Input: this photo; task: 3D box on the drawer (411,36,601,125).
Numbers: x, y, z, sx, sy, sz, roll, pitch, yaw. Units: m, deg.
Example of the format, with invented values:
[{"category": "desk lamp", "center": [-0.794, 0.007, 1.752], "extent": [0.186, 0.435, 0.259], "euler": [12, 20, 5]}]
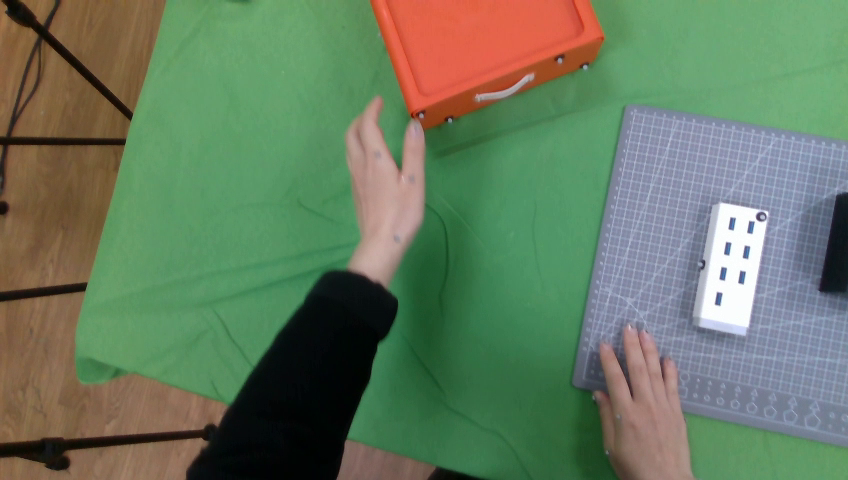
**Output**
[{"category": "drawer", "center": [0.048, -0.251, 0.622], "extent": [0.194, 0.073, 0.211], "euler": [-21, 84, 5]}]

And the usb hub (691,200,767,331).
[{"category": "usb hub", "center": [0.305, 0.025, 0.606], "extent": [0.049, 0.025, 0.125], "euler": [11, 89, 6]}]

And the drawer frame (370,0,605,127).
[{"category": "drawer frame", "center": [0.047, -0.253, 0.620], "extent": [0.201, 0.083, 0.213], "euler": [-21, 84, 5]}]
